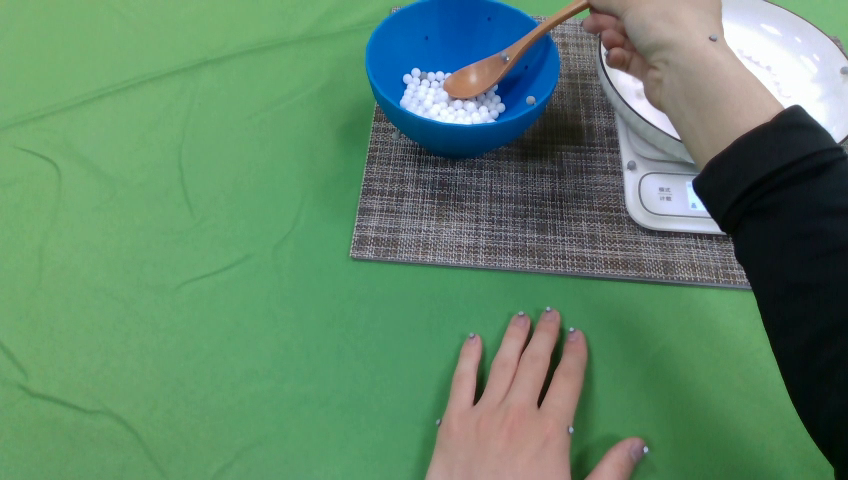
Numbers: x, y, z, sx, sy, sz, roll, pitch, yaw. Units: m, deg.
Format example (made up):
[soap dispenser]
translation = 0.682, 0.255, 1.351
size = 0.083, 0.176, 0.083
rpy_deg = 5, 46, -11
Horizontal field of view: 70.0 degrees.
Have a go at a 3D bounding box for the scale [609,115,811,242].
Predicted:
[scale]
translation = 0.234, -0.090, 0.512
size = 0.149, 0.032, 0.199
rpy_deg = 4, 57, 1

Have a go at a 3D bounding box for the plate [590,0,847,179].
[plate]
translation = 0.237, -0.127, 0.498
size = 0.209, 0.038, 0.207
rpy_deg = 1, 57, -2

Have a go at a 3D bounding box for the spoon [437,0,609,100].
[spoon]
translation = 0.095, -0.162, 0.473
size = 0.193, 0.022, 0.041
rpy_deg = -28, 45, 24

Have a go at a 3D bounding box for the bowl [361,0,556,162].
[bowl]
translation = 0.026, -0.118, 0.495
size = 0.151, 0.077, 0.150
rpy_deg = 1, 56, -1
